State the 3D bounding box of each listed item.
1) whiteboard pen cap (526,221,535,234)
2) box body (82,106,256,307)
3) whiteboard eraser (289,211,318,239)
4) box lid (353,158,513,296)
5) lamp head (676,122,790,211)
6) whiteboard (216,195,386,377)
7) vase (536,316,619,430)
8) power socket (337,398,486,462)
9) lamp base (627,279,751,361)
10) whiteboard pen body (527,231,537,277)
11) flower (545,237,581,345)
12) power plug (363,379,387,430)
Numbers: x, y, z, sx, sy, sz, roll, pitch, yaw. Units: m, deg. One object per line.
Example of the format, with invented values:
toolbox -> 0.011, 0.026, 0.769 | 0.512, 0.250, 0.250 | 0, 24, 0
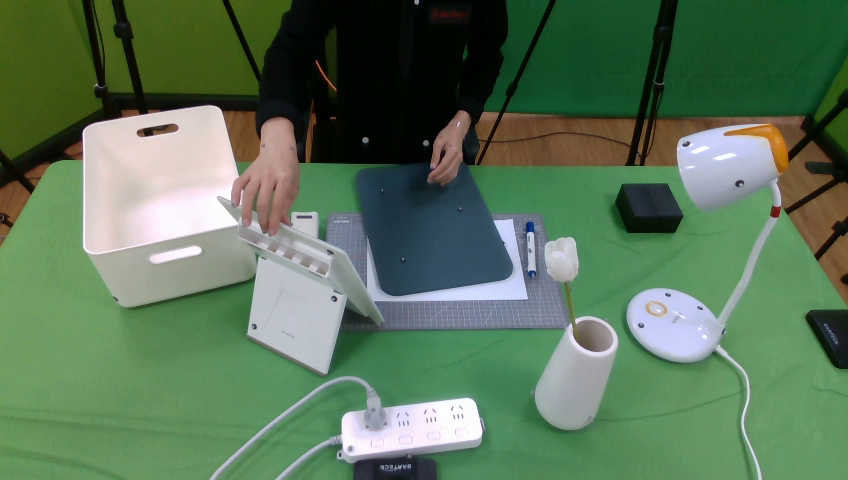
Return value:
whiteboard pen cap -> 0.216, -0.022, 1.234 | 0.018, 0.018, 0.033 | 6, 44, 1
box body -> -0.471, -0.071, 1.131 | 0.254, 0.161, 0.361 | -14, 49, -17
whiteboard eraser -> -0.234, -0.007, 1.172 | 0.055, 0.042, 0.112 | -3, 46, -5
box lid -> 0.009, -0.039, 1.242 | 0.264, 0.015, 0.369 | -8, 47, -12
lamp head -> 0.423, -0.104, 0.819 | 0.122, 0.113, 0.112 | -13, 33, 40
whiteboard -> -0.212, 0.094, 0.938 | 0.216, 0.307, 0.143 | 24, 70, 17
vase -> 0.229, 0.200, 0.901 | 0.098, 0.201, 0.097 | 3, 46, -3
power socket -> -0.018, 0.285, 0.914 | 0.227, 0.033, 0.071 | -4, 46, -8
lamp base -> 0.460, 0.100, 1.027 | 0.178, 0.181, 0.160 | 27, 51, 17
whiteboard pen body -> 0.211, 0.018, 1.191 | 0.017, 0.017, 0.140 | 6, 44, 2
flower -> 0.213, 0.137, 0.846 | 0.038, 0.364, 0.044 | 21, 55, 40
power plug -> -0.071, 0.252, 0.911 | 0.035, 0.053, 0.072 | 3, 40, 0
